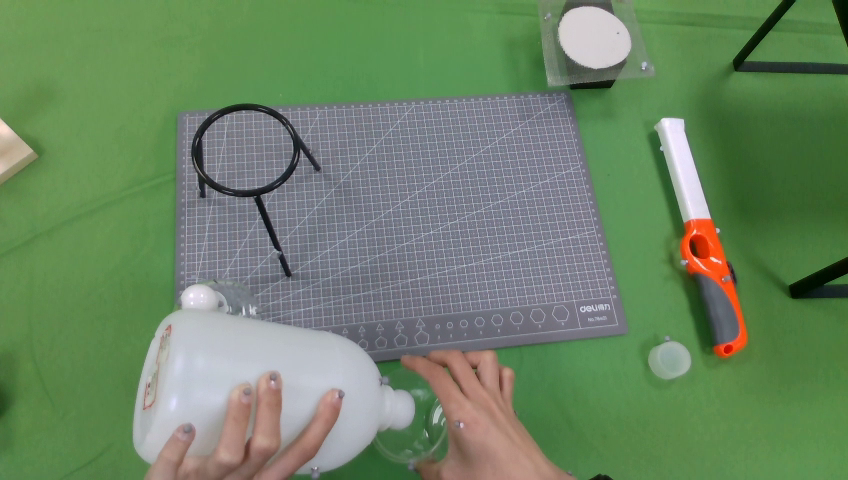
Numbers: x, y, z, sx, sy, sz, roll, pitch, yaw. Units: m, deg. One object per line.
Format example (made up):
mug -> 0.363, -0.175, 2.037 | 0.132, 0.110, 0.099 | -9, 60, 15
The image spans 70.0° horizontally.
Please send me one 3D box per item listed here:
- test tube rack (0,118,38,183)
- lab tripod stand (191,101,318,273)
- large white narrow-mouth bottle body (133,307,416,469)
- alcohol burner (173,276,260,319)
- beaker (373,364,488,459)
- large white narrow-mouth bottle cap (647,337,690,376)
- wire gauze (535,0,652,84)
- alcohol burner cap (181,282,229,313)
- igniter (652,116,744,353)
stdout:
test tube rack -> -0.507, -0.045, 0.566 | 0.066, 0.085, 0.242 | 41, 71, 10
lab tripod stand -> -0.156, -0.054, 0.576 | 0.148, 0.132, 0.147 | 3, 70, -6
large white narrow-mouth bottle body -> -0.094, 0.113, 0.437 | 0.196, 0.101, 0.101 | 16, 65, -31
alcohol burner -> -0.188, 0.063, 0.539 | 0.078, 0.120, 0.077 | 3, 67, -6
beaker -> 0.005, 0.152, 0.528 | 0.083, 0.101, 0.073 | 1, 71, 28
large white narrow-mouth bottle cap -> 0.248, 0.119, 0.615 | 0.038, 0.024, 0.037 | 2, 69, -4
wire gauze -> 0.191, -0.235, 0.696 | 0.122, 0.011, 0.124 | -3, 70, -7
alcohol burner cap -> -0.185, 0.052, 0.505 | 0.034, 0.048, 0.033 | 2, 74, -5
igniter -> 0.299, -0.014, 0.664 | 0.057, 0.025, 0.274 | -1, 70, -17
